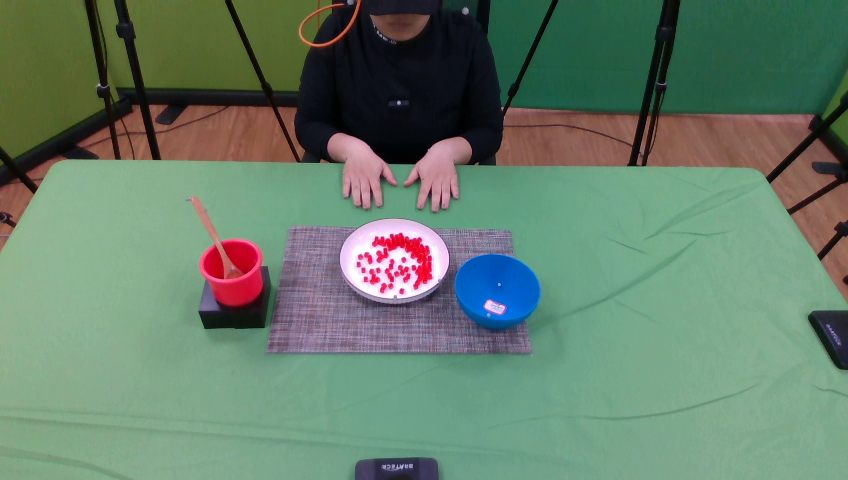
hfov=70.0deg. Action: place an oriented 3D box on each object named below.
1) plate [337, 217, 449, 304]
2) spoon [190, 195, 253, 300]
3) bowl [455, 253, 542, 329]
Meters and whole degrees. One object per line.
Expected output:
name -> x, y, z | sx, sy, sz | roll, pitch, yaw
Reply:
plate -> -0.058, 0.042, 1.137 | 0.208, 0.039, 0.206 | 2, 46, -2
spoon -> -0.339, 0.012, 1.007 | 0.041, 0.021, 0.194 | -27, 98, -26
bowl -> 0.125, 0.103, 1.062 | 0.151, 0.077, 0.150 | 2, 46, -2
